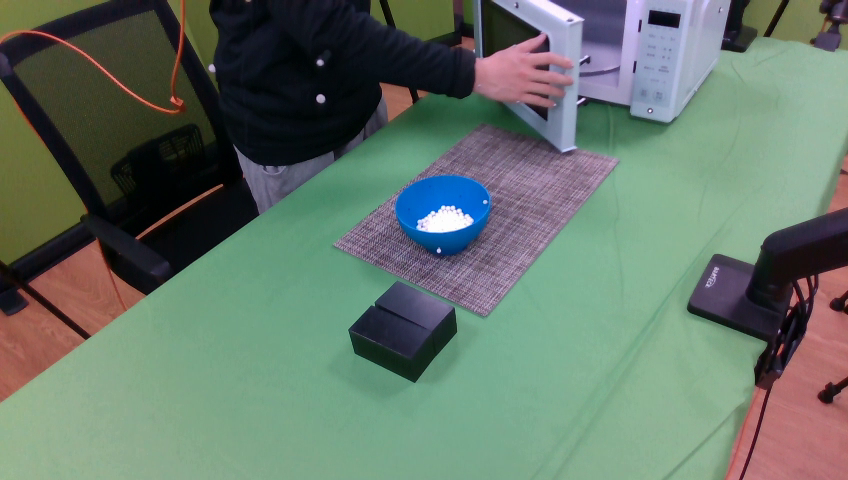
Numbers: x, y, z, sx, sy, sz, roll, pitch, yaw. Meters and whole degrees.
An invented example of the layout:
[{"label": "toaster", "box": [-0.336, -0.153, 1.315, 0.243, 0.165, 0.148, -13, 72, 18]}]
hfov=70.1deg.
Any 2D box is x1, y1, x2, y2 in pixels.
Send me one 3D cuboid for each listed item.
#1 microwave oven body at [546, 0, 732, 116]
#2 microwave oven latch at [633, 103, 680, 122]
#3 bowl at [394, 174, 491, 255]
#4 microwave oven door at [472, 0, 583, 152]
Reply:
[{"label": "microwave oven body", "box": [0.377, -0.462, 1.267, 0.438, 0.261, 0.327, 21, 49, 30]}, {"label": "microwave oven latch", "box": [0.443, -0.249, 1.157, 0.078, 0.029, 0.030, 21, 49, 30]}, {"label": "bowl", "box": [0.032, -0.030, 0.949, 0.151, 0.077, 0.150, -4, 40, 4]}, {"label": "microwave oven door", "box": [0.189, -0.354, 1.161, 0.039, 0.245, 0.352, -20, 42, -15]}]
